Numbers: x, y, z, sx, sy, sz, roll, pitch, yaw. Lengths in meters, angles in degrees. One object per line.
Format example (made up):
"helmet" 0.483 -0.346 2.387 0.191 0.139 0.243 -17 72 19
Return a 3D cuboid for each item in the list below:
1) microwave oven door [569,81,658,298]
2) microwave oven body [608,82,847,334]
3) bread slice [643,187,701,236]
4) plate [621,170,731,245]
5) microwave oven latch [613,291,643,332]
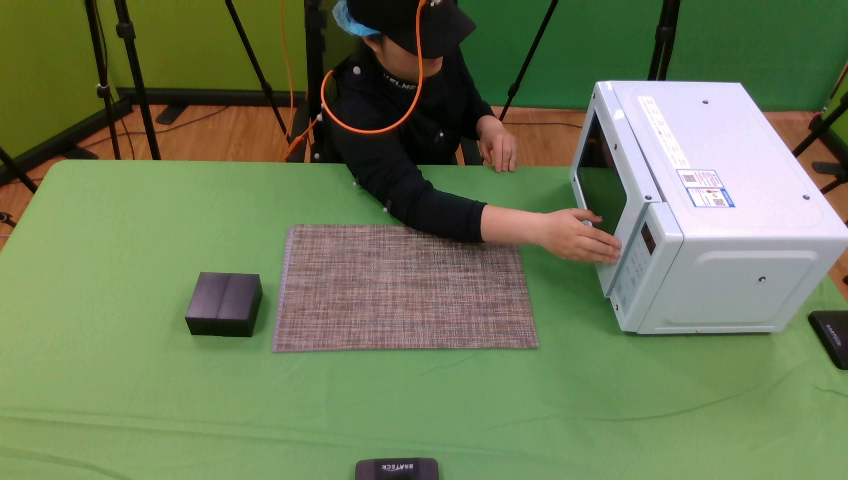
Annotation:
"microwave oven door" 0.348 -0.103 1.146 0.039 0.245 0.353 1 46 -3
"microwave oven body" 0.501 -0.069 1.132 0.326 0.261 0.438 -1 45 -4
"bread slice" 0.495 -0.057 1.196 0.105 0.019 0.131 7 43 4
"plate" 0.490 -0.061 1.193 0.209 0.038 0.208 2 45 -2
"microwave oven latch" 0.358 0.125 1.068 0.030 0.029 0.078 1 45 -2
